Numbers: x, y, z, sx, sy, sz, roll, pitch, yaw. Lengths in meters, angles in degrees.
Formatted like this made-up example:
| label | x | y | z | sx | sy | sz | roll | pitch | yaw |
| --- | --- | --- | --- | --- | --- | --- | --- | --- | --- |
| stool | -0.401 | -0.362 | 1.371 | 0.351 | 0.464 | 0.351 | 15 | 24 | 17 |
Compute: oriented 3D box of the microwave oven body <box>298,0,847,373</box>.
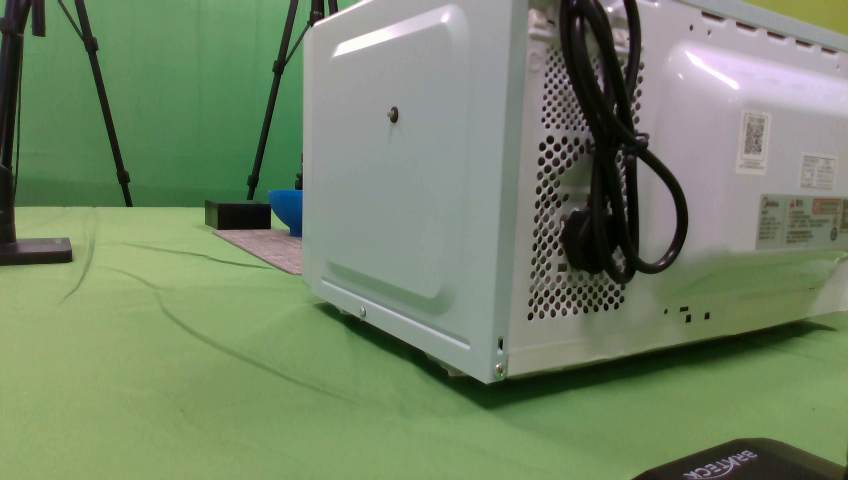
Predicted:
| label | x | y | z | sx | sy | sz | roll | pitch | yaw |
| --- | --- | --- | --- | --- | --- | --- | --- | --- | --- |
| microwave oven body | 0.151 | -0.055 | 0.543 | 0.444 | 0.260 | 0.324 | -1 | 8 | -33 |

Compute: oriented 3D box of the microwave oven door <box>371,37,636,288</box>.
| label | x | y | z | sx | sy | sz | roll | pitch | yaw |
| --- | --- | --- | --- | --- | --- | --- | --- | --- | --- |
| microwave oven door | 0.109 | -0.080 | 0.686 | 0.358 | 0.243 | 0.039 | -2 | 9 | -33 |

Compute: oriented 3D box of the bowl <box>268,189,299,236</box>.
| label | x | y | z | sx | sy | sz | roll | pitch | yaw |
| --- | --- | --- | --- | --- | --- | --- | --- | --- | --- |
| bowl | -0.205 | -0.049 | 1.090 | 0.151 | 0.077 | 0.151 | 3 | 7 | 0 |

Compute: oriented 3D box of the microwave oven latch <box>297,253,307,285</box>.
| label | x | y | z | sx | sy | sz | roll | pitch | yaw |
| --- | --- | --- | --- | --- | --- | --- | --- | --- | --- |
| microwave oven latch | -0.082 | 0.027 | 0.582 | 0.079 | 0.029 | 0.030 | -1 | 7 | -32 |
